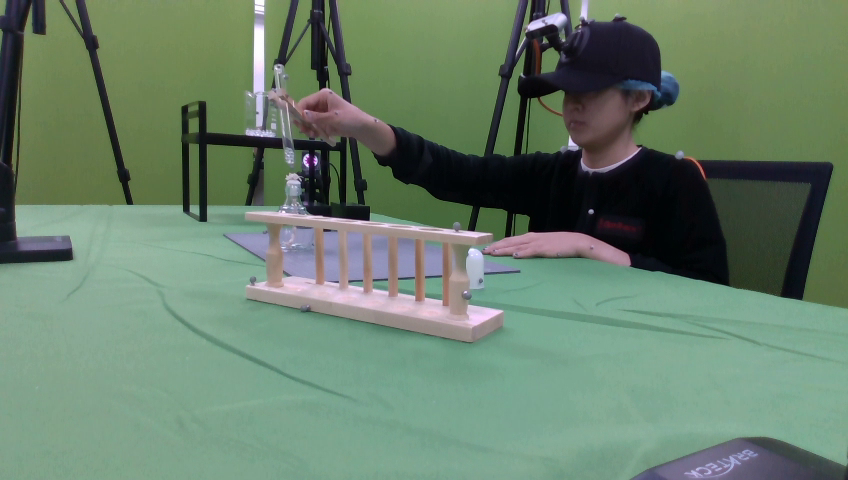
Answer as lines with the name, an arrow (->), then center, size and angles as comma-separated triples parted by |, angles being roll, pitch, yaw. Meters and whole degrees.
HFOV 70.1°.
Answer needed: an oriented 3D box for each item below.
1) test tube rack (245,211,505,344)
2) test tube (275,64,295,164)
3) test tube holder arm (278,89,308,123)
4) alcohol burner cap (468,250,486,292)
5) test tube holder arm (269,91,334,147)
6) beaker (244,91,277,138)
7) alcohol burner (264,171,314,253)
test tube rack -> -0.049, 0.025, 0.547 | 0.241, 0.085, 0.067 | 7, 8, 29
test tube -> -0.204, -0.184, 0.884 | 0.017, 0.150, 0.017 | -7, -7, -1
test tube holder arm -> -0.195, -0.199, 0.908 | 0.010, 0.015, 0.088 | -4, -16, 12
alcohol burner cap -> 0.056, 0.035, 0.690 | 0.034, 0.048, 0.034 | 2, 7, 0
test tube holder arm -> -0.188, -0.188, 0.951 | 0.013, 0.015, 0.179 | -6, -16, 18
beaker -> -0.368, -0.280, 1.356 | 0.074, 0.100, 0.084 | 4, 8, 6
alcohol burner -> -0.194, -0.042, 0.888 | 0.078, 0.119, 0.078 | 3, 5, 0
